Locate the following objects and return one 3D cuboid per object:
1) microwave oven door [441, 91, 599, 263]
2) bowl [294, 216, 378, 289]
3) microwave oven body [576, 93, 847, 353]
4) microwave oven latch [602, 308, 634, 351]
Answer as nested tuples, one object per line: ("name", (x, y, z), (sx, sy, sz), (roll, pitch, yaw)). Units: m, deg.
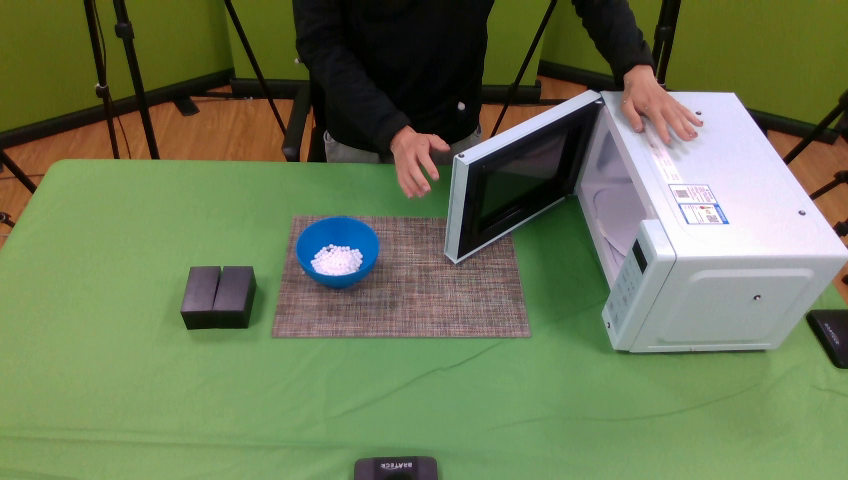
("microwave oven door", (0.187, -0.123, 1.160), (0.356, 0.245, 0.039), (-29, 55, -28))
("bowl", (-0.158, 0.036, 1.110), (0.151, 0.077, 0.150), (3, 45, -2))
("microwave oven body", (0.475, -0.041, 1.109), (0.326, 0.261, 0.438), (-1, 45, -4))
("microwave oven latch", (0.332, 0.153, 1.044), (0.030, 0.029, 0.078), (-1, 45, -4))
